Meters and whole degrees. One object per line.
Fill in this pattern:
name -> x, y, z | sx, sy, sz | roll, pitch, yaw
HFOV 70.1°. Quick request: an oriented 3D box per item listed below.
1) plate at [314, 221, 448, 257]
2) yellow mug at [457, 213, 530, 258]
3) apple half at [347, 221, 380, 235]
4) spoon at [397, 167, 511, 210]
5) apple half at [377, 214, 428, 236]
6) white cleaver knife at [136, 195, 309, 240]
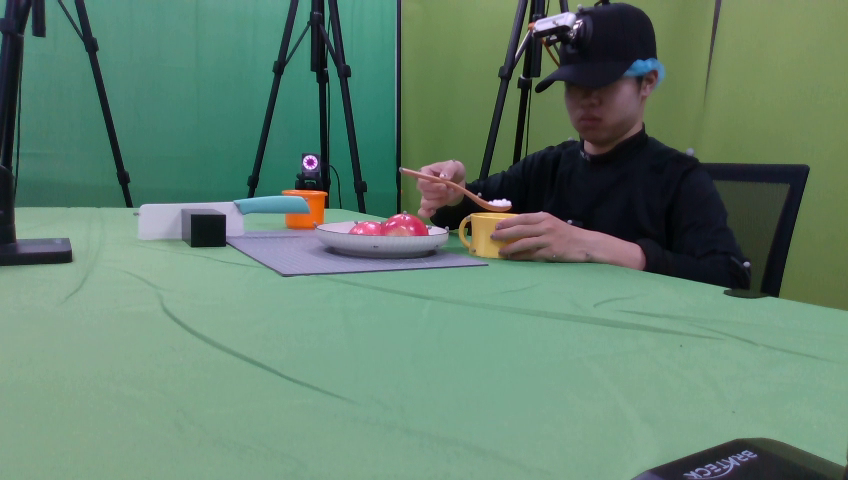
plate -> -0.066, -0.002, 0.948 | 0.209, 0.038, 0.209 | 3, 7, 0
yellow mug -> 0.109, -0.011, 0.992 | 0.130, 0.064, 0.100 | 6, 8, 36
apple half -> -0.088, -0.014, 0.985 | 0.081, 0.033, 0.081 | 5, 6, 0
spoon -> 0.048, -0.085, 0.983 | 0.194, 0.021, 0.041 | 23, 11, 2
apple half -> -0.034, -0.013, 0.924 | 0.080, 0.053, 0.075 | 5, 10, 16
white cleaver knife -> -0.337, -0.039, 1.037 | 0.288, 0.066, 0.021 | -6, 15, -29
